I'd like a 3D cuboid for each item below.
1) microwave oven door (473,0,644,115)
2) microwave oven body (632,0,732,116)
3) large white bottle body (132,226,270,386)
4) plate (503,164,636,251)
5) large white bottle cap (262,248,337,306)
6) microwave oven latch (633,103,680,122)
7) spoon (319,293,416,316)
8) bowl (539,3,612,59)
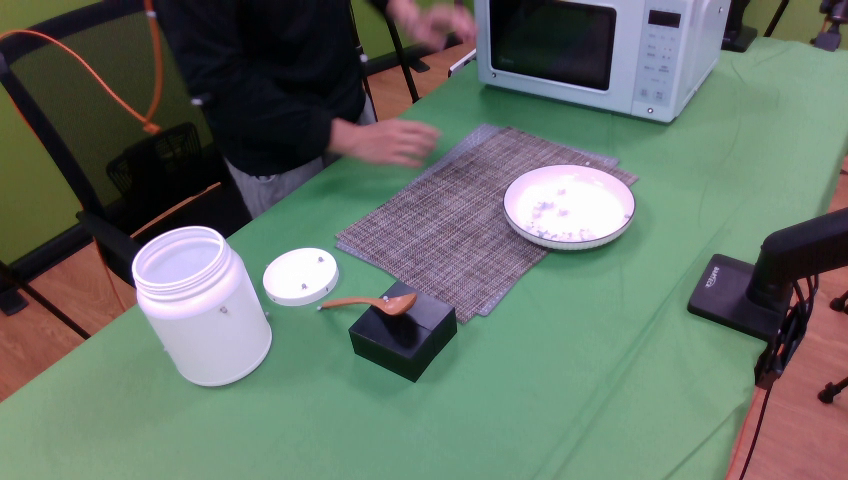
[{"bbox_3d":[0.257,-0.396,1.199,0.353,0.245,0.039,21,48,29],"label":"microwave oven door"},{"bbox_3d":[0.377,-0.462,1.267,0.438,0.261,0.327,21,48,30],"label":"microwave oven body"},{"bbox_3d":[-0.286,0.085,0.783,0.130,0.185,0.130,-4,41,4],"label":"large white bottle body"},{"bbox_3d":[0.231,-0.050,0.976,0.209,0.038,0.208,-3,41,3],"label":"plate"},{"bbox_3d":[-0.193,0.056,0.934,0.115,0.018,0.114,-4,41,4],"label":"large white bottle cap"},{"bbox_3d":[0.443,-0.249,1.157,0.078,0.029,0.030,21,48,30],"label":"microwave oven latch"},{"bbox_3d":[-0.082,0.086,0.826,0.192,0.022,0.041,-3,36,41],"label":"spoon"},{"bbox_3d":[0.323,-0.441,1.298,0.151,0.077,0.150,-4,42,4],"label":"bowl"}]
